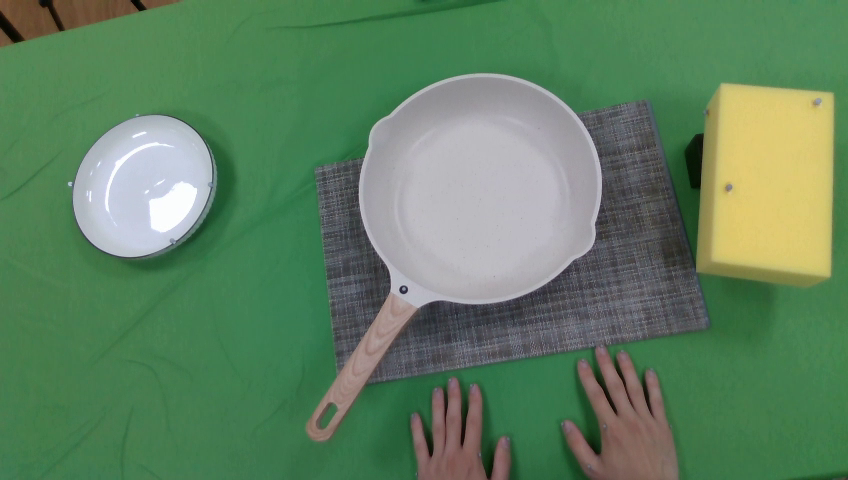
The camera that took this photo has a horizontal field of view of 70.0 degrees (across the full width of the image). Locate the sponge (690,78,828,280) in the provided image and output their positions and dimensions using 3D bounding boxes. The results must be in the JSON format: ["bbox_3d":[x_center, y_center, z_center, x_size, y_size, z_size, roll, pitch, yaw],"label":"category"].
[{"bbox_3d":[0.369,-0.068,0.669,0.118,0.061,0.206,7,77,9],"label":"sponge"}]

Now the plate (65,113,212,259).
[{"bbox_3d":[-0.388,-0.072,0.839,0.207,0.039,0.206,-2,76,7],"label":"plate"}]

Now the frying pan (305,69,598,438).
[{"bbox_3d":[0.006,0.016,0.724,0.305,0.103,0.486,31,74,15],"label":"frying pan"}]
